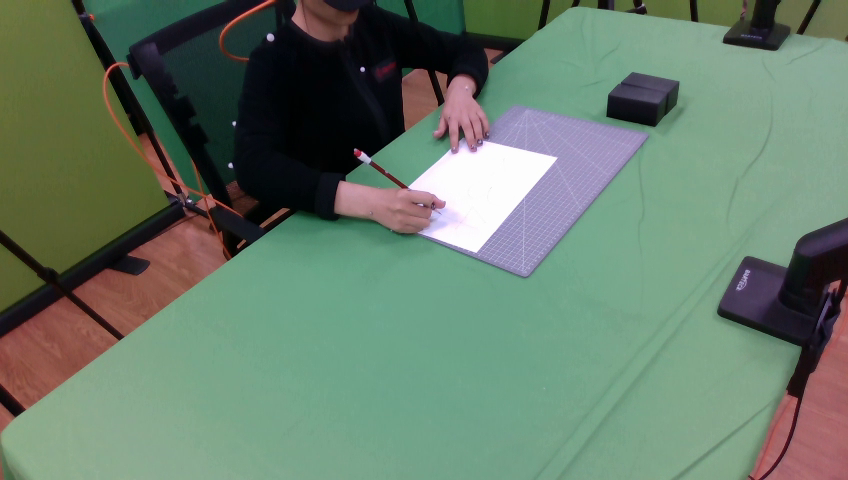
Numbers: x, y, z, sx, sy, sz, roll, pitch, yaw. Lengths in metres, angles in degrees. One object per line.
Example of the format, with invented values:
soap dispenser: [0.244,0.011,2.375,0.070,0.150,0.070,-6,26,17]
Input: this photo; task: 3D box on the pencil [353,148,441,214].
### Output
pencil: [-0.040,-0.092,0.987,0.012,0.196,0.012,-33,39,32]
